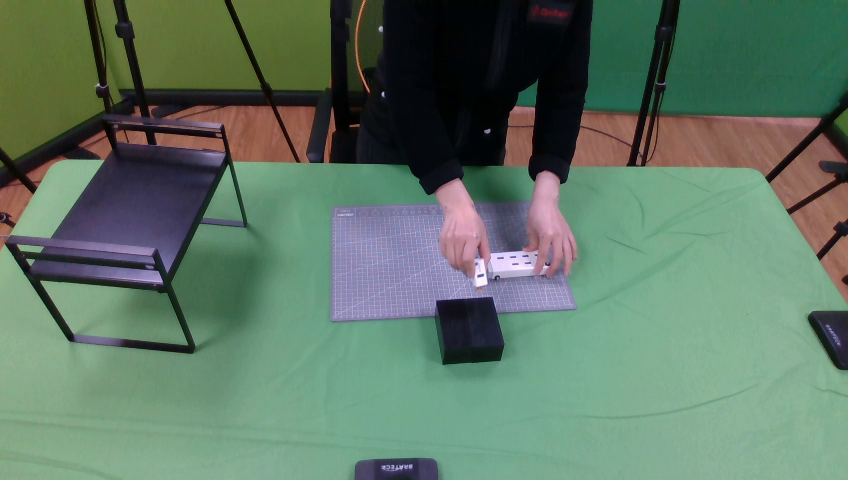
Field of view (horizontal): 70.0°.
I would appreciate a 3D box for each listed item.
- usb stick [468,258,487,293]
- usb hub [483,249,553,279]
[{"bbox_3d":[0.091,0.061,1.017,0.021,0.059,0.027,-11,11,-17],"label":"usb stick"},{"bbox_3d":[0.179,0.046,1.159,0.125,0.025,0.049,-4,48,-8],"label":"usb hub"}]
